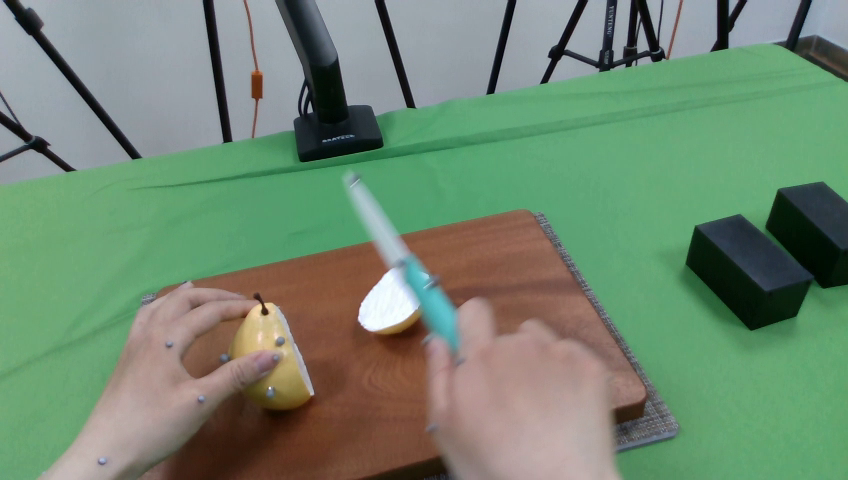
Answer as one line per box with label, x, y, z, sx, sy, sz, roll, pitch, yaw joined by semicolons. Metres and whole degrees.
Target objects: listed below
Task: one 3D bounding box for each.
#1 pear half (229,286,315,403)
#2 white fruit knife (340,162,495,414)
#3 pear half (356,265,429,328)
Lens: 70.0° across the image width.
pear half;-0.126;0.080;0.470;0.056;0.111;0.075;-24;38;-18
white fruit knife;-0.012;0.020;0.402;0.016;0.027;0.205;-12;56;-36
pear half;-0.024;0.053;0.547;0.070;0.031;0.087;-16;25;11
